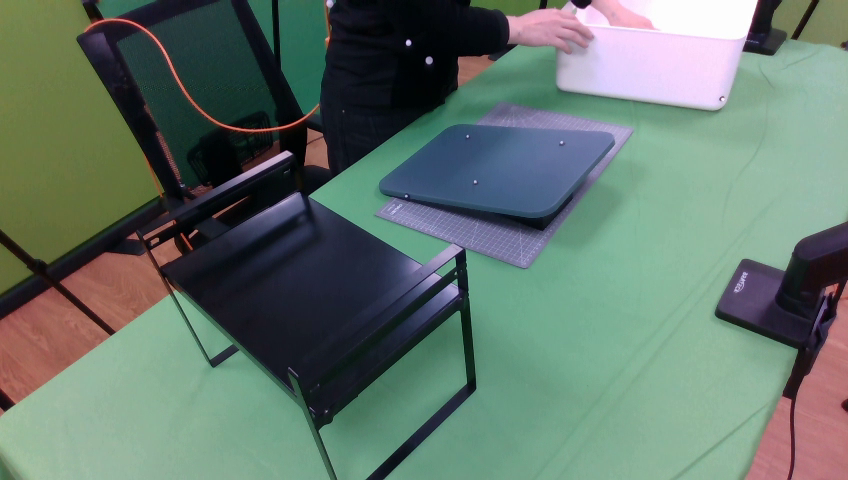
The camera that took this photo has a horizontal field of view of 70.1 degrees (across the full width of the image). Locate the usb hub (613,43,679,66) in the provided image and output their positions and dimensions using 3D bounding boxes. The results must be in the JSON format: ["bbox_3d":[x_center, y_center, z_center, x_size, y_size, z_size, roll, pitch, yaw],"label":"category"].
[{"bbox_3d":[0.474,-0.397,1.291,0.124,0.025,0.049,16,44,29],"label":"usb hub"}]

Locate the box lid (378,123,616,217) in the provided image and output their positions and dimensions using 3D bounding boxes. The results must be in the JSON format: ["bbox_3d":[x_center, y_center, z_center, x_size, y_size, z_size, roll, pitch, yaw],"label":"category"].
[{"bbox_3d":[0.119,-0.136,1.071,0.368,0.015,0.264,13,43,39],"label":"box lid"}]

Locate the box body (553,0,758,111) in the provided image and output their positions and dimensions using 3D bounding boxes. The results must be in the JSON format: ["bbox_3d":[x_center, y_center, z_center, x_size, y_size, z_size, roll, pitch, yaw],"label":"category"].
[{"bbox_3d":[0.481,-0.417,1.281,0.362,0.161,0.254,15,46,24],"label":"box body"}]
